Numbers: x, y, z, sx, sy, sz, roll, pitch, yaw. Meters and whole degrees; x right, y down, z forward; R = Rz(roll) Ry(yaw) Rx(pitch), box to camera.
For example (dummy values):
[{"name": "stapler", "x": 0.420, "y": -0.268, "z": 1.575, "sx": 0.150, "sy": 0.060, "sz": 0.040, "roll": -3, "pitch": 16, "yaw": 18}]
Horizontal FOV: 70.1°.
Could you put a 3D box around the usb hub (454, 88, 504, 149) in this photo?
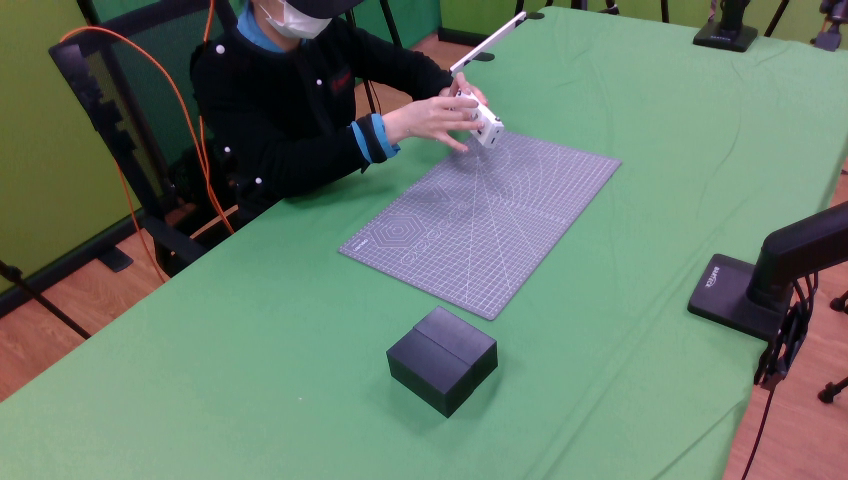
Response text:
[{"name": "usb hub", "x": 0.095, "y": -0.221, "z": 1.092, "sx": 0.025, "sy": 0.049, "sz": 0.124, "roll": -8, "pitch": 48, "yaw": -37}]

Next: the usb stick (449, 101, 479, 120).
[{"name": "usb stick", "x": 0.075, "y": -0.226, "z": 1.060, "sx": 0.059, "sy": 0.027, "sz": 0.021, "roll": 1, "pitch": 35, "yaw": -30}]
